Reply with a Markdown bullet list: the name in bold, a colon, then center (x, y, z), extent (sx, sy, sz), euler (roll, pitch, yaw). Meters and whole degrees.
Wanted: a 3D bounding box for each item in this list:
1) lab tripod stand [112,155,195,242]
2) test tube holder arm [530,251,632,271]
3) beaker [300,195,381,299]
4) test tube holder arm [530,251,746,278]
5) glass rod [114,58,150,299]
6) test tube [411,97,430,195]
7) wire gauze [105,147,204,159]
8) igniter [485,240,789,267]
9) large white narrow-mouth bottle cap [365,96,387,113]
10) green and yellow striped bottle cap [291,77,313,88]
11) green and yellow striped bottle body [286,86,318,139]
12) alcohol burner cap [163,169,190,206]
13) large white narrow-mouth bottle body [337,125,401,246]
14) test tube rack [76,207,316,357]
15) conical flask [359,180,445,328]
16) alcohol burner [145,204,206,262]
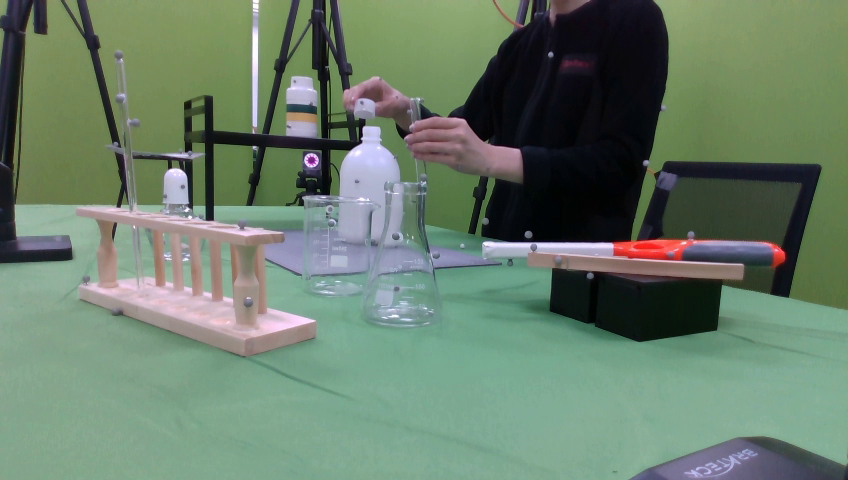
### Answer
- **lab tripod stand**: center (-0.405, -0.064, 0.931), extent (0.148, 0.131, 0.148), euler (1, 7, 0)
- **test tube holder arm**: center (0.139, 0.019, 0.538), extent (0.087, 0.015, 0.010), euler (3, 6, 13)
- **beaker**: center (-0.087, 0.006, 0.626), extent (0.084, 0.100, 0.074), euler (1, 8, -17)
- **test tube holder arm**: center (0.182, 0.022, 0.523), extent (0.178, 0.015, 0.013), euler (3, 6, 12)
- **glass rod**: center (-0.236, -0.044, 0.491), extent (0.008, 0.199, 0.008), euler (1, 15, 0)
- **test tube**: center (-0.005, -0.142, 0.925), extent (0.017, 0.150, 0.017), euler (-5, 12, 1)
- **wire gauze**: center (-0.407, -0.131, 0.928), extent (0.125, 0.011, 0.121), euler (2, 6, -11)
- **igniter**: center (0.197, 0.012, 0.585), extent (0.276, 0.025, 0.057), euler (1, 5, 12)
- **large white narrow-mouth bottle cap**: center (-0.078, -0.225, 1.002), extent (0.038, 0.024, 0.037), euler (4, 7, 0)
- **green and yellow striped bottle cap**: center (-0.250, -0.321, 1.238), extent (0.045, 0.020, 0.045), euler (3, 6, 0)
- **green and yellow striped bottle body**: center (-0.251, -0.270, 1.245), extent (0.063, 0.119, 0.063), euler (2, 7, 0)
- **alcohol burner cap**: center (-0.320, -0.067, 0.782), extent (0.034, 0.048, 0.034), euler (1, 7, 0)
- **large white narrow-mouth bottle body**: center (-0.090, -0.092, 1.007), extent (0.102, 0.194, 0.102), euler (4, 7, 0)
- **test tube rack**: center (-0.196, 0.023, 0.500), extent (0.241, 0.085, 0.067), euler (8, 9, 36)
- **conical flask**: center (-0.017, 0.010, 0.522), extent (0.075, 0.122, 0.075), euler (2, 7, 0)
- **alcohol burner**: center (-0.321, -0.032, 0.788), extent (0.078, 0.119, 0.078), euler (0, 7, 0)
